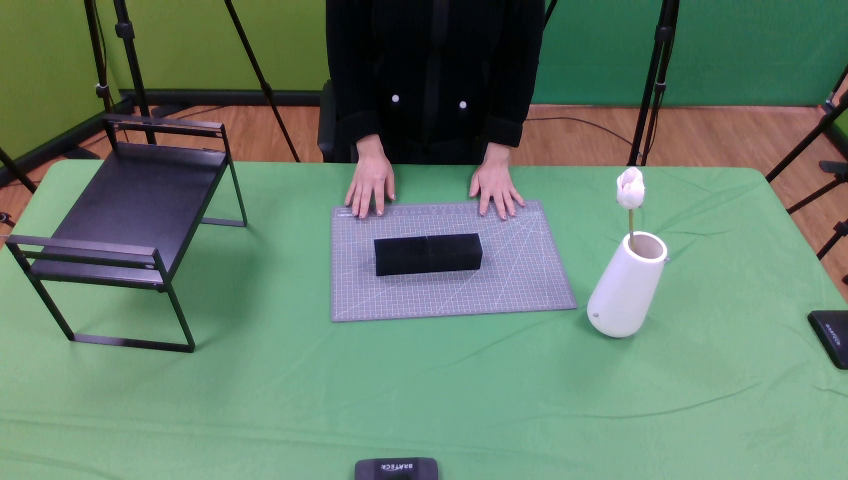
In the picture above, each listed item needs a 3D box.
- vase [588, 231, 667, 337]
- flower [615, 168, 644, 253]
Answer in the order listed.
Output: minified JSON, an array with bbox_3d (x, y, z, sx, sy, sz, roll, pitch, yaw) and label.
[{"bbox_3d":[0.343,0.078,1.023,0.098,0.201,0.097,2,47,-1],"label":"vase"},{"bbox_3d":[0.330,0.024,0.959,0.038,0.364,0.044,-5,51,17],"label":"flower"}]
